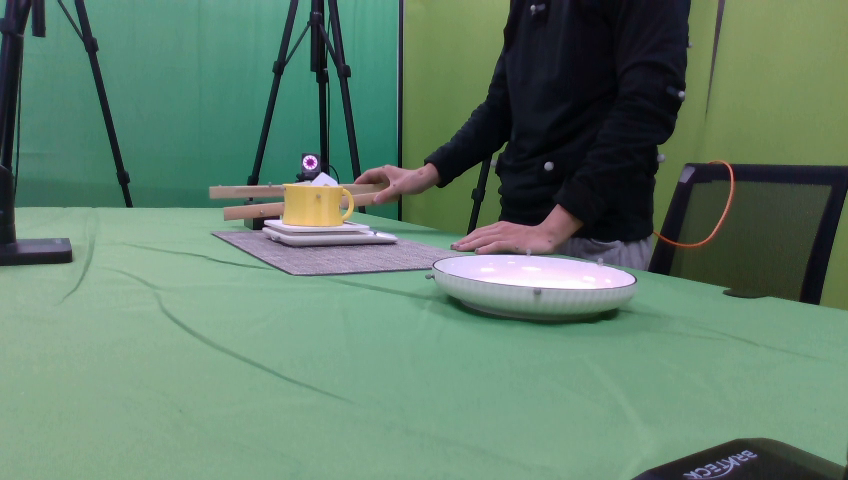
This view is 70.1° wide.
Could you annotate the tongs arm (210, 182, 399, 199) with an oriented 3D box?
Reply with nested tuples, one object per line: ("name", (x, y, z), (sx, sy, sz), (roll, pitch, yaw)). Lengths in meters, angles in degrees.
("tongs arm", (-0.239, -0.101, 1.259), (0.387, 0.026, 0.050), (-4, 19, -24))

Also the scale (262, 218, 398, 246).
("scale", (-0.160, -0.016, 1.028), (0.202, 0.031, 0.148), (-1, 9, -32))

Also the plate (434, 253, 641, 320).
("plate", (0.114, 0.047, 0.626), (0.208, 0.039, 0.207), (2, 7, 0))

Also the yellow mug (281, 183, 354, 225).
("yellow mug", (-0.172, -0.061, 1.009), (0.131, 0.064, 0.099), (-2, 7, -41))

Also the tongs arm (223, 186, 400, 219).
("tongs arm", (-0.204, -0.076, 1.197), (0.390, 0.028, 0.028), (-10, 19, -35))
